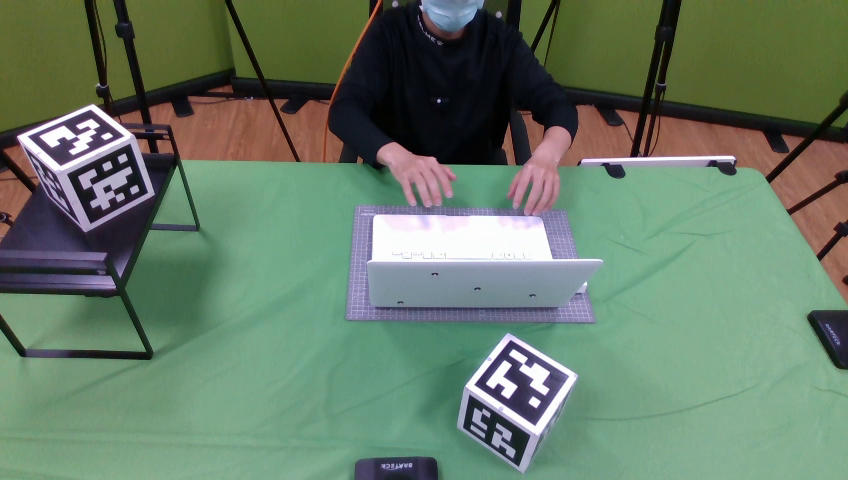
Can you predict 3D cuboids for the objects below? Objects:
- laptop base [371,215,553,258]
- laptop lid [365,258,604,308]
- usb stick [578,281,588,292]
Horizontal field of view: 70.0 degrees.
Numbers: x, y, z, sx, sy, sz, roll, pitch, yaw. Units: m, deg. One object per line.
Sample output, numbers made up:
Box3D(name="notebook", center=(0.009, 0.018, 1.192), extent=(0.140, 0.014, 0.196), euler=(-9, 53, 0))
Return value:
Box3D(name="laptop base", center=(0.075, 0.036, 1.167), extent=(0.354, 0.023, 0.234), euler=(0, 43, -4))
Box3D(name="laptop lid", center=(0.085, 0.074, 0.978), extent=(0.357, 0.242, 0.013), euler=(1, 67, -5))
Box3D(name="usb stick", center=(0.271, 0.082, 1.119), extent=(0.059, 0.027, 0.021), euler=(-2, 47, -1))
